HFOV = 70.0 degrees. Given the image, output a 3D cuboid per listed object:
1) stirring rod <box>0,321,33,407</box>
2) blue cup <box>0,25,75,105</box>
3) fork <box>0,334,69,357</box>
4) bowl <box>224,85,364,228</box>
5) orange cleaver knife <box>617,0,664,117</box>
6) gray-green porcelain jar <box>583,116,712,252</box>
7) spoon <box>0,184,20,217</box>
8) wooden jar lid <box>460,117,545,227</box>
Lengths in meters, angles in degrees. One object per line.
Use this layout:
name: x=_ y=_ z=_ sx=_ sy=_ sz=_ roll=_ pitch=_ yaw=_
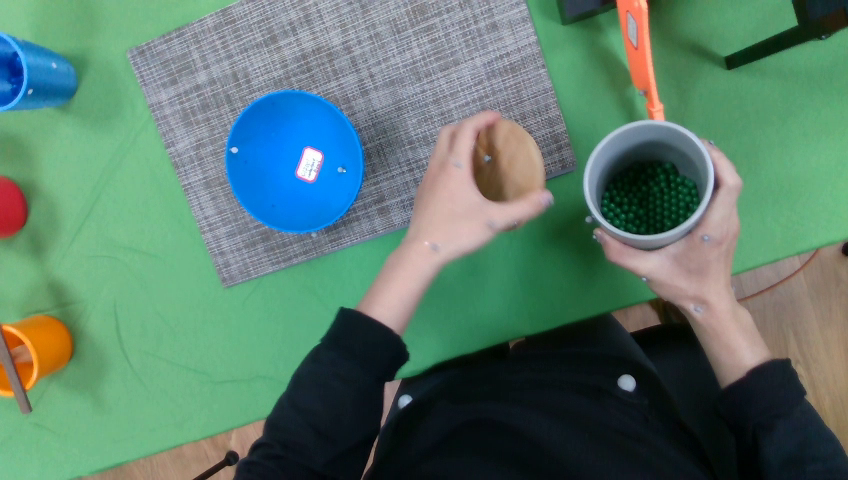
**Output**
stirring rod: x=-0.502 y=0.117 z=0.719 sx=0.014 sy=0.006 sz=0.176 roll=-14 pitch=99 yaw=6
blue cup: x=-0.453 y=-0.194 z=0.682 sx=0.092 sy=0.100 sz=0.093 roll=1 pitch=101 yaw=5
fork: x=-0.548 y=0.141 z=0.730 sx=0.208 sy=0.018 sz=0.028 roll=-7 pitch=112 yaw=-36
bowl: x=-0.133 y=-0.093 z=0.672 sx=0.151 sy=0.076 sz=0.152 roll=1 pitch=100 yaw=7
orange cleaver knife: x=0.221 y=-0.175 z=0.616 sx=0.012 sy=0.076 sz=0.213 roll=-22 pitch=126 yaw=7
gray-green porcelain jar: x=0.211 y=-0.046 z=0.572 sx=0.105 sy=0.127 sz=0.105 roll=-4 pitch=80 yaw=22
spoon: x=-0.586 y=-0.033 z=0.707 sx=0.194 sy=0.021 sz=0.042 roll=-15 pitch=99 yaw=-35
wooden jar lid: x=0.079 y=-0.067 z=0.602 sx=0.107 sy=0.021 sz=0.109 roll=14 pitch=109 yaw=48
